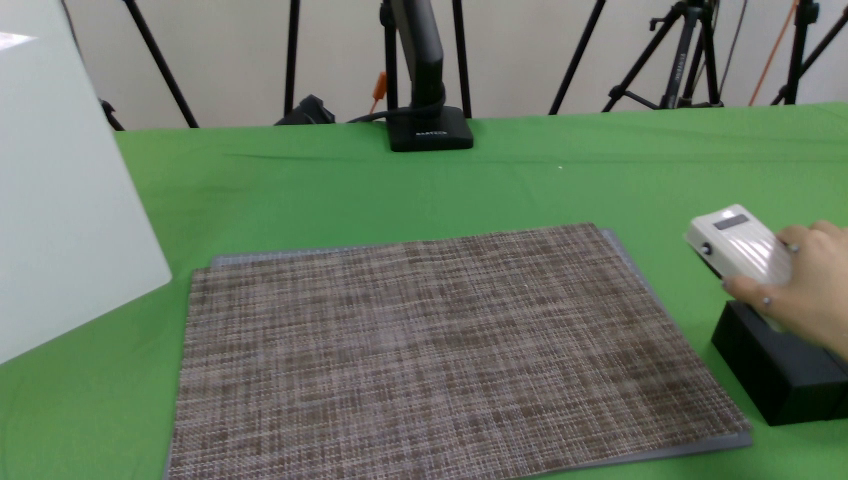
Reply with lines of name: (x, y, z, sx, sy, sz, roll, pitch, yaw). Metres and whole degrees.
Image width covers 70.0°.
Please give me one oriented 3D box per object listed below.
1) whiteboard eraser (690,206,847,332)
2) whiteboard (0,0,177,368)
whiteboard eraser: (0.272, 0.023, 0.487, 0.056, 0.042, 0.111, -16, 45, -15)
whiteboard: (-0.404, -0.059, 0.543, 0.217, 0.307, 0.142, -31, 28, -35)
